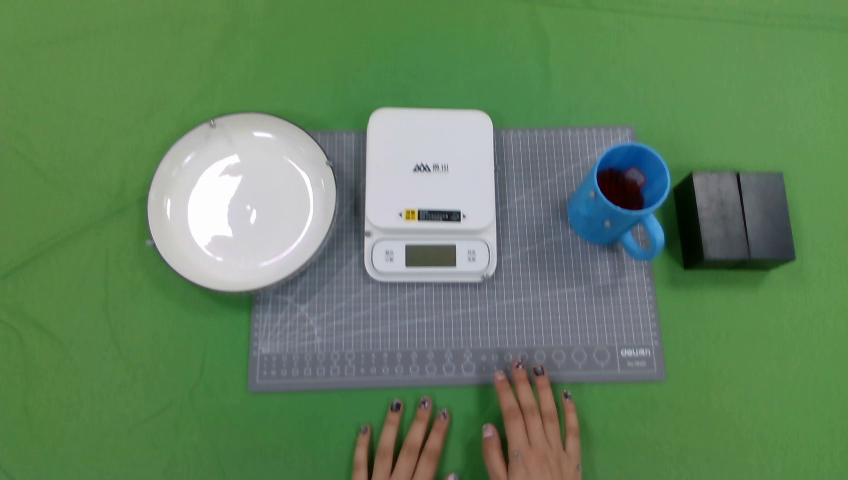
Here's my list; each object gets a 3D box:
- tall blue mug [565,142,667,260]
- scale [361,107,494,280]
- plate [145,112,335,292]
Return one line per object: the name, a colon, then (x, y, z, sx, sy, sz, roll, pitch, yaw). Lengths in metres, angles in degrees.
tall blue mug: (0.215, -0.039, 0.653, 0.107, 0.108, 0.077, 35, 76, 8)
scale: (0.005, -0.055, 0.690, 0.149, 0.032, 0.200, 0, 76, -1)
plate: (-0.201, -0.041, 0.678, 0.209, 0.038, 0.208, 0, 75, 0)
